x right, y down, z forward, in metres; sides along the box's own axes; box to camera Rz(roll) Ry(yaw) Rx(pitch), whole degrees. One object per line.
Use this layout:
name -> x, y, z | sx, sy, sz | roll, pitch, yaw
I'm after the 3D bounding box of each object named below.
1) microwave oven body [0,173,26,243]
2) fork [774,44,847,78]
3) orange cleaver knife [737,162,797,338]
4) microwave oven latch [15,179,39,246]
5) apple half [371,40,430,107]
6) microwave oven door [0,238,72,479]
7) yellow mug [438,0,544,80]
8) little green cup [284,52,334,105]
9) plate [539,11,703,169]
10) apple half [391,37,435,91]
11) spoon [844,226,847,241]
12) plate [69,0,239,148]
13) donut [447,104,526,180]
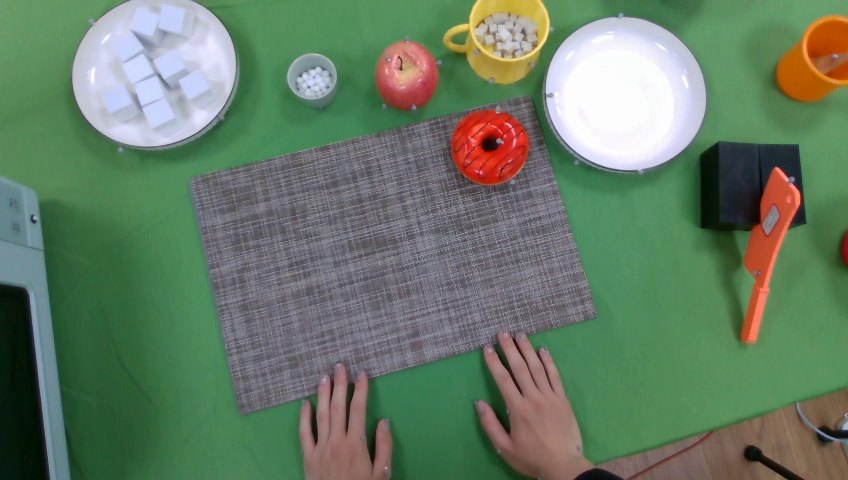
microwave oven body -> -0.591, 0.154, 0.595 | 0.326, 0.261, 0.440 | -12, 82, -3
fork -> 0.543, -0.241, 0.736 | 0.206, 0.019, 0.028 | -15, 75, 41
orange cleaver knife -> 0.400, 0.015, 0.724 | 0.012, 0.076, 0.212 | 4, 113, 2
microwave oven latch -> -0.484, -0.031, 0.724 | 0.030, 0.029, 0.079 | -11, 82, -3
apple half -> -0.037, -0.200, 0.760 | 0.053, 0.075, 0.080 | -41, 87, -2
microwave oven door -> -0.439, 0.163, 0.591 | 0.039, 0.244, 0.354 | -12, 81, -3
yellow mug -> 0.084, -0.264, 0.775 | 0.131, 0.064, 0.099 | -4, 81, -1
little green cup -> -0.144, -0.204, 0.776 | 0.061, 0.039, 0.061 | 0, 81, 0
plate -> 0.250, -0.189, 0.780 | 0.209, 0.038, 0.208 | 0, 81, -1
apple half -> -0.008, -0.226, 0.763 | 0.033, 0.081, 0.081 | -42, 83, -2
spoon -> 0.597, 0.015, 0.699 | 0.192, 0.022, 0.041 | 23, 72, 48
plate -> -0.338, -0.214, 0.774 | 0.208, 0.039, 0.207 | 0, 81, -1
donut -> 0.078, -0.123, 0.759 | 0.099, 0.048, 0.098 | 0, 82, 1
